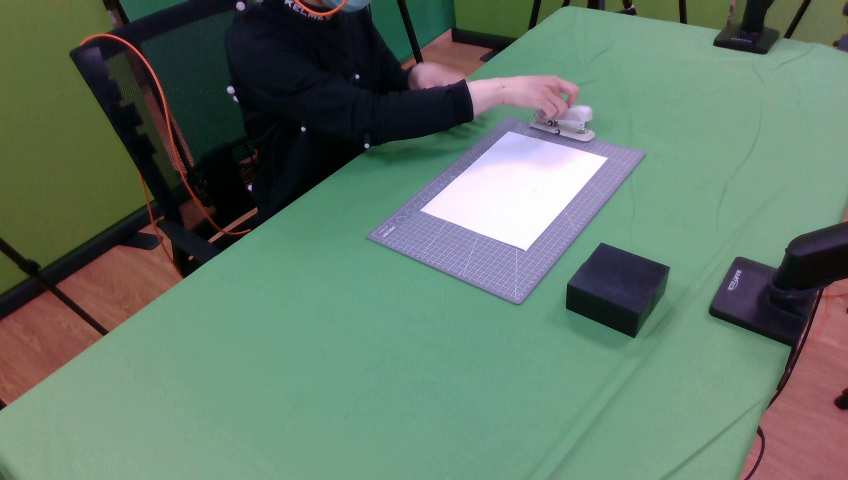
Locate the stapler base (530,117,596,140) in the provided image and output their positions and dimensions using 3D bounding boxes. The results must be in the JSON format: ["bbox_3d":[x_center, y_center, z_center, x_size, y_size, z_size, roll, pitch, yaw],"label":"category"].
[{"bbox_3d":[0.274,-0.228,1.189,0.129,0.024,0.041,23,38,33],"label":"stapler base"}]

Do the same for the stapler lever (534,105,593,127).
[{"bbox_3d":[0.272,-0.249,1.176,0.117,0.040,0.027,23,39,33],"label":"stapler lever"}]
